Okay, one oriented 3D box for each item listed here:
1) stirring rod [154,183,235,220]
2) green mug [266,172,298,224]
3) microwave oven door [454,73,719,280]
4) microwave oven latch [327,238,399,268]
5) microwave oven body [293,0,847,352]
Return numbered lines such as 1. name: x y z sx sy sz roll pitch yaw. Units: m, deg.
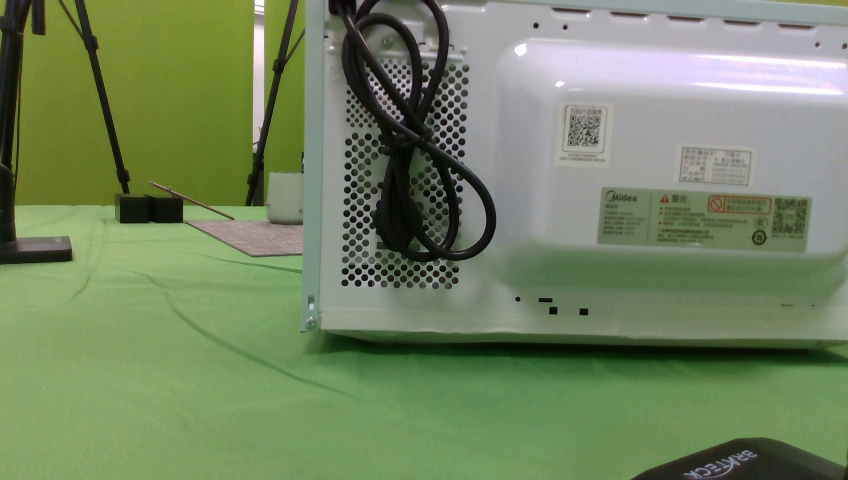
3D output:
1. stirring rod: -0.472 -0.079 1.252 0.177 0.006 0.014 27 4 -35
2. green mug: -0.272 -0.089 1.271 0.092 0.105 0.126 7 8 33
3. microwave oven door: 0.195 -0.091 0.815 0.354 0.243 0.039 8 8 39
4. microwave oven latch: -0.069 0.015 0.694 0.079 0.029 0.030 3 7 -3
5. microwave oven body: 0.122 -0.055 0.550 0.442 0.260 0.325 3 7 -5
